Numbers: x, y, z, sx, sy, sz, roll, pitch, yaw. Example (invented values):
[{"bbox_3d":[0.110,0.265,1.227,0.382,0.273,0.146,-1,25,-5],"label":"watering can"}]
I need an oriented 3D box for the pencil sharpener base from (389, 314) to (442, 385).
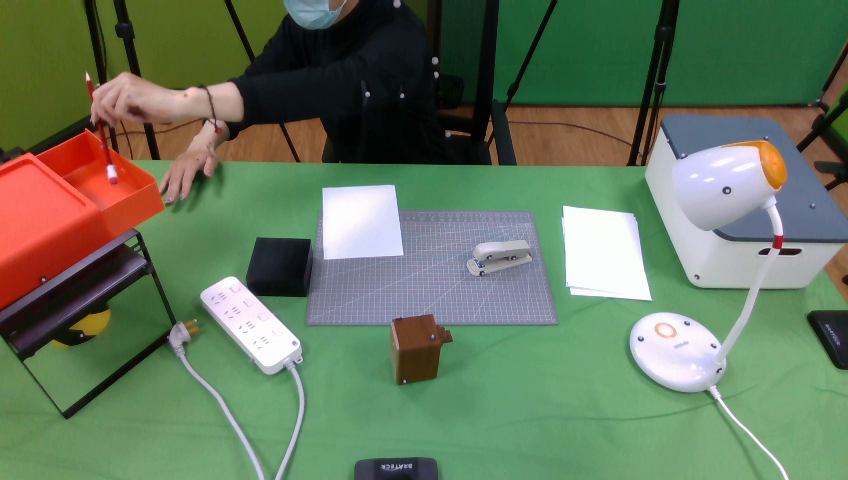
[{"bbox_3d":[-0.013,0.175,0.971,0.077,0.107,0.061,-8,47,-11],"label":"pencil sharpener base"}]

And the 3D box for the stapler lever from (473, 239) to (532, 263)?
[{"bbox_3d":[0.150,0.017,1.155,0.118,0.040,0.026,-13,50,-17],"label":"stapler lever"}]

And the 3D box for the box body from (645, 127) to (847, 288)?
[{"bbox_3d":[0.625,-0.080,1.222,0.254,0.161,0.361,0,46,-3],"label":"box body"}]

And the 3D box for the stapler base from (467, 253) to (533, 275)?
[{"bbox_3d":[0.147,0.035,1.171,0.131,0.024,0.041,-12,50,-17],"label":"stapler base"}]

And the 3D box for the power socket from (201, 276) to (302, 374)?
[{"bbox_3d":[-0.297,0.141,1.034,0.072,0.033,0.225,-34,58,-30],"label":"power socket"}]

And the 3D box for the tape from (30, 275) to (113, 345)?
[{"bbox_3d":[-0.593,0.117,1.021,0.117,0.053,0.116,3,46,-2],"label":"tape"}]

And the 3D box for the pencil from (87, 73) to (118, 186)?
[{"bbox_3d":[-0.499,-0.173,0.937,0.012,0.012,0.193,-16,79,-18],"label":"pencil"}]

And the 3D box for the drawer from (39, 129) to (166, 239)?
[{"bbox_3d":[-0.548,-0.061,0.930,0.193,0.073,0.211,32,53,23],"label":"drawer"}]

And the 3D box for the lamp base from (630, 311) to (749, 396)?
[{"bbox_3d":[0.447,0.143,0.983,0.161,0.181,0.178,-24,55,-24],"label":"lamp base"}]

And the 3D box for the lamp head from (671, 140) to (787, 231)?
[{"bbox_3d":[0.415,-0.078,0.811,0.113,0.123,0.112,13,70,-37],"label":"lamp head"}]

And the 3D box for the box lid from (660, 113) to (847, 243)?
[{"bbox_3d":[0.628,-0.132,1.170,0.263,0.015,0.369,1,46,-3],"label":"box lid"}]

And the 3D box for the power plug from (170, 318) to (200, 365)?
[{"bbox_3d":[-0.392,0.167,1.015,0.052,0.035,0.072,-29,92,-24],"label":"power plug"}]

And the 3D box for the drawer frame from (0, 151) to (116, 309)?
[{"bbox_3d":[-0.605,-0.012,0.875,0.201,0.083,0.213,31,52,22],"label":"drawer frame"}]

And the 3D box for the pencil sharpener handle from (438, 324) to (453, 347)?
[{"bbox_3d":[0.036,0.155,0.976,0.031,0.068,0.036,-8,69,-11],"label":"pencil sharpener handle"}]
